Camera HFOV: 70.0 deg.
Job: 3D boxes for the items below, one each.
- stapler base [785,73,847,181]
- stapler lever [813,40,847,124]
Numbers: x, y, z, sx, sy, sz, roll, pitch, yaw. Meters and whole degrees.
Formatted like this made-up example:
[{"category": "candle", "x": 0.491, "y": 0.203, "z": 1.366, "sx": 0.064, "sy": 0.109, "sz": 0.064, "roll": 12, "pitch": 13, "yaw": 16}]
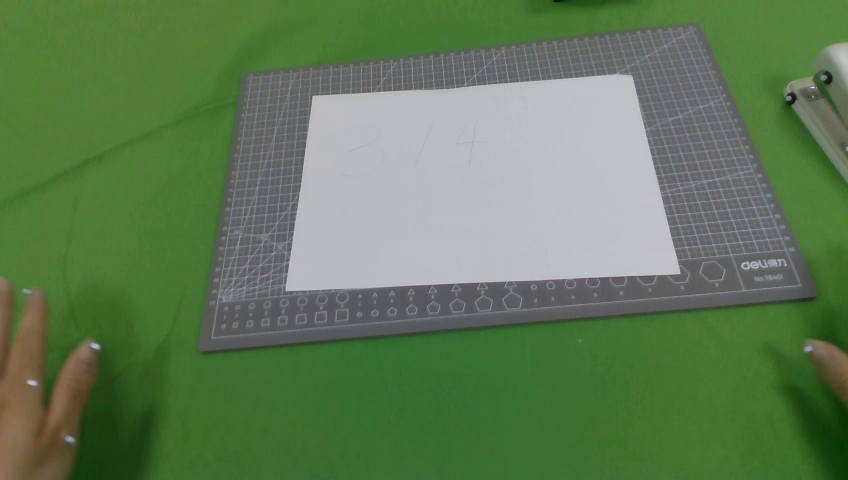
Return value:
[{"category": "stapler base", "x": 0.343, "y": -0.093, "z": 0.490, "sx": 0.041, "sy": 0.024, "sz": 0.129, "roll": -14, "pitch": 60, "yaw": 2}, {"category": "stapler lever", "x": 0.340, "y": -0.105, "z": 0.468, "sx": 0.027, "sy": 0.040, "sz": 0.117, "roll": -14, "pitch": 60, "yaw": 2}]
